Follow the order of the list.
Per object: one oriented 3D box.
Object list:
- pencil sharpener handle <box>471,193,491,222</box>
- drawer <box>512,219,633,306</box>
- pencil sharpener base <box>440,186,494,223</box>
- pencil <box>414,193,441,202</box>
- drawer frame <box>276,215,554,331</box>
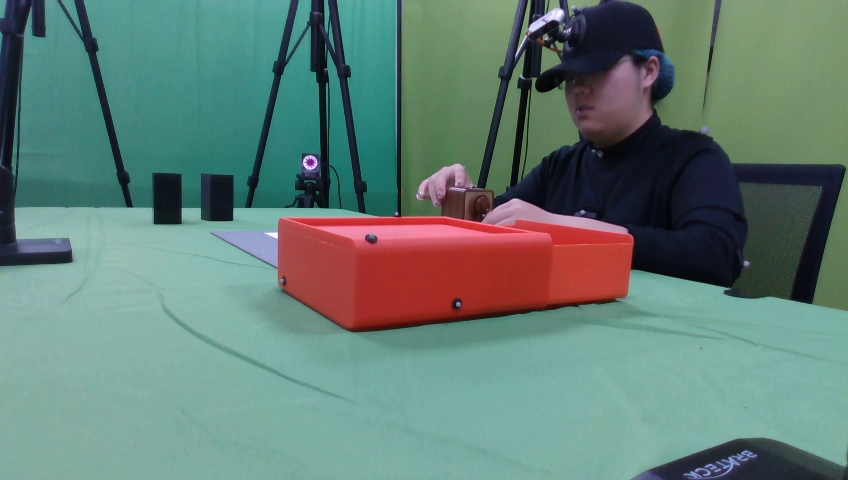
[{"bbox_3d":[0.095,-0.038,0.945,0.036,0.067,0.030,9,3,-32],"label":"pencil sharpener handle"},{"bbox_3d":[0.085,0.021,0.674,0.213,0.073,0.193,-2,9,-32],"label":"drawer"},{"bbox_3d":[0.070,-0.032,0.991,0.062,0.107,0.076,-1,8,-31],"label":"pencil sharpener base"},{"bbox_3d":[0.034,-0.070,1.058,0.012,0.012,0.193,-1,9,-31],"label":"pencil"},{"bbox_3d":[-0.015,0.022,0.610,0.215,0.082,0.200,-2,9,-32],"label":"drawer frame"}]
